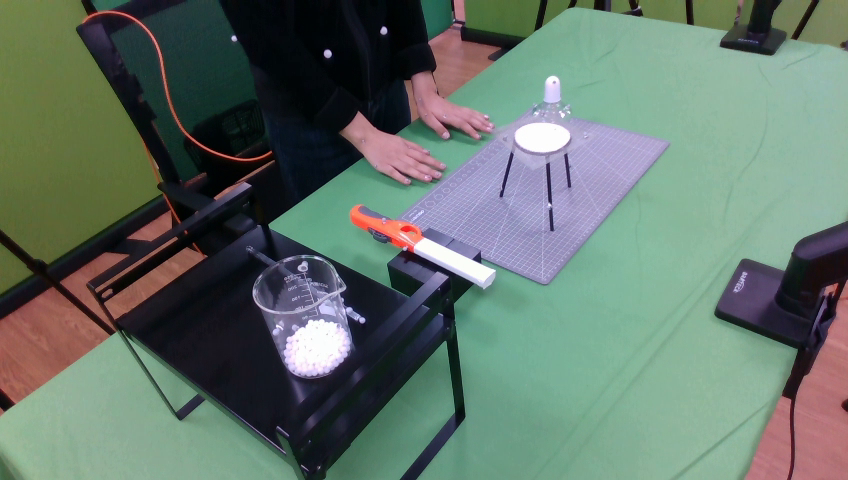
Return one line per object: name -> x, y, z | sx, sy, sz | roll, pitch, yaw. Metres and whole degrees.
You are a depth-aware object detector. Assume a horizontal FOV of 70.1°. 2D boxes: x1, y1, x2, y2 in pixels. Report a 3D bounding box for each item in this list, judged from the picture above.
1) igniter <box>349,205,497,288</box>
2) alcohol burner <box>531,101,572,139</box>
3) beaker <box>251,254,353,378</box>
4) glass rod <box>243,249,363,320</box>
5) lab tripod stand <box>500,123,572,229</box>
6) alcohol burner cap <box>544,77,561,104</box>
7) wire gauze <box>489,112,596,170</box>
igniter -> -0.013, 0.004, 0.897 | 0.274, 0.025, 0.057 | 25, 44, 32
alcohol burner -> 0.246, -0.256, 1.165 | 0.078, 0.119, 0.077 | -6, 40, 6
beaker -> -0.106, 0.074, 0.565 | 0.084, 0.101, 0.073 | -1, 41, 8
glass rod -> -0.141, 0.046, 0.674 | 0.198, 0.008, 0.008 | 24, 49, 32
lab tripod stand -> 0.194, -0.110, 0.985 | 0.148, 0.132, 0.147 | -3, 41, 3
alcohol burner cap -> 0.243, -0.285, 1.143 | 0.034, 0.048, 0.033 | -5, 37, 4
wire gauze -> 0.183, -0.161, 0.942 | 0.122, 0.011, 0.124 | -24, 44, -18
